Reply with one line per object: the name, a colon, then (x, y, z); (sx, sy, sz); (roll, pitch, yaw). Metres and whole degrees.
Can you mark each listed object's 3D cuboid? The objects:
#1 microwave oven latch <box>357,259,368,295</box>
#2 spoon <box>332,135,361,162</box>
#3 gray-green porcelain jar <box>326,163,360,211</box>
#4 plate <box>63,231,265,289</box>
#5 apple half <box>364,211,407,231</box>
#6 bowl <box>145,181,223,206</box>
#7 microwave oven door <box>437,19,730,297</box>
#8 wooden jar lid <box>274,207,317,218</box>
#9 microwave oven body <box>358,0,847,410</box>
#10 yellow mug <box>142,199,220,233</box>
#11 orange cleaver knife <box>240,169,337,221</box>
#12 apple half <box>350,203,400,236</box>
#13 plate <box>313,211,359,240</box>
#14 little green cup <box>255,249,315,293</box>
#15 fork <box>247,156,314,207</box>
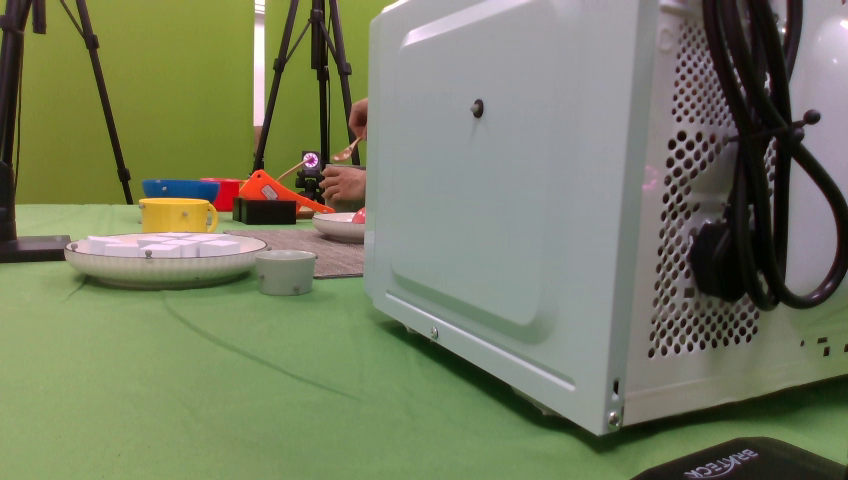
microwave oven latch: (-0.019, 0.031, 0.529); (0.079, 0.029, 0.030); (-1, 7, -26)
spoon: (-0.158, -0.252, 1.508); (0.041, 0.022, 0.194); (19, 58, 39)
gray-green porcelain jar: (-0.187, -0.125, 1.488); (0.106, 0.126, 0.106); (2, 8, 0)
plate: (-0.288, 0.021, 0.687); (0.208, 0.039, 0.207); (2, 8, 0)
apple half: (-0.068, -0.037, 1.104); (0.081, 0.033, 0.081); (-1, 9, 0)
bowl: (-0.499, -0.081, 1.261); (0.151, 0.077, 0.151); (2, 7, 0)
microwave oven door: (0.180, -0.076, 0.618); (0.358, 0.243, 0.039); (-2, 9, -28)
wooden jar lid: (-0.303, -0.065, 1.409); (0.108, 0.020, 0.108); (3, 9, 0)
microwave oven body: (0.210, -0.051, 0.471); (0.444, 0.260, 0.324); (-1, 7, -28)
yellow mug: (-0.373, -0.030, 0.948); (0.099, 0.064, 0.131); (6, 8, 29)
orange cleaver knife: (-0.287, -0.081, 1.298); (0.212, 0.077, 0.012); (25, -3, -31)
apple half: (-0.081, -0.036, 1.024); (0.081, 0.053, 0.074); (-2, 11, -34)
plate: (-0.091, -0.026, 1.063); (0.209, 0.038, 0.209); (2, 7, 0)
little green cup: (-0.144, 0.032, 0.627); (0.061, 0.038, 0.061); (2, 6, 0)
fork: (-0.360, -0.147, 1.523); (0.207, 0.019, 0.028); (-43, 16, -6)
